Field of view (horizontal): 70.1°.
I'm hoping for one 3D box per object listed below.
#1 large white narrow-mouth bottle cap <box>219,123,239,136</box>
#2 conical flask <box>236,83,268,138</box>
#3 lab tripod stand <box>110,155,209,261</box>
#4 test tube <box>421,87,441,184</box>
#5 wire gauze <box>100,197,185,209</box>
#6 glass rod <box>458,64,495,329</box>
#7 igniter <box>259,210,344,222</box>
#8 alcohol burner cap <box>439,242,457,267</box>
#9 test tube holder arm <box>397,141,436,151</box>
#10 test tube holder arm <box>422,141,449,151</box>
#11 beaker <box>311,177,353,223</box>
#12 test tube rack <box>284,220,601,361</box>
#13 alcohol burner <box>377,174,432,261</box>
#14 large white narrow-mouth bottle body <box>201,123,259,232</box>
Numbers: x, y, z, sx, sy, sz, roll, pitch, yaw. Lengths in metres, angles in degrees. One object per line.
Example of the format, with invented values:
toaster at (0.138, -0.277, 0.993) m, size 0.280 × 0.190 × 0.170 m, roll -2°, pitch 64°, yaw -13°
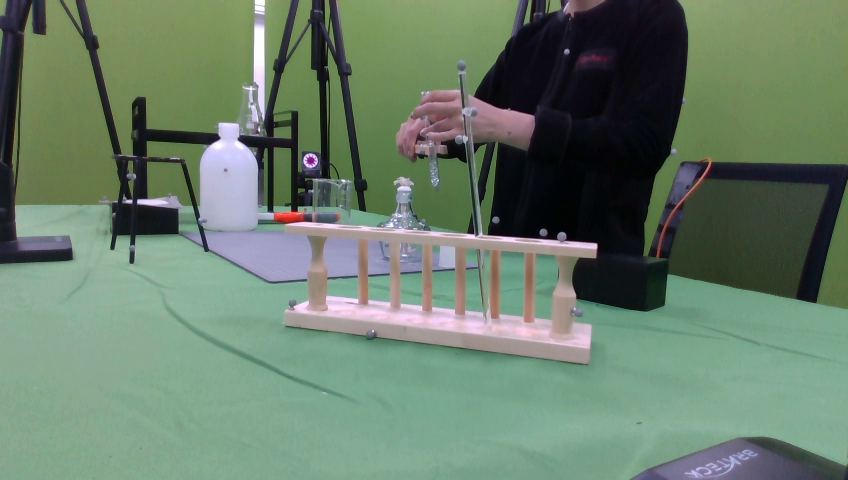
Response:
large white narrow-mouth bottle cap at (-0.356, -0.201, 1.104) m, size 0.038 × 0.024 × 0.037 m, roll 2°, pitch 8°, yaw 0°
conical flask at (-0.400, -0.298, 1.396) m, size 0.075 × 0.122 × 0.075 m, roll 2°, pitch 8°, yaw 0°
lab tripod stand at (-0.361, -0.046, 0.806) m, size 0.148 × 0.131 × 0.148 m, roll 2°, pitch 5°, yaw 0°
test tube at (0.011, -0.162, 0.946) m, size 0.017 × 0.150 × 0.017 m, roll -6°, pitch 17°, yaw 2°
wire gauze at (-0.469, -0.062, 1.008) m, size 0.126 × 0.011 × 0.121 m, roll -2°, pitch 8°, yaw -25°
glass rod at (0.040, -0.029, 0.449) m, size 0.008 × 0.199 × 0.008 m, roll -7°, pitch 9°, yaw 1°
igniter at (-0.303, -0.049, 1.258) m, size 0.278 × 0.025 × 0.057 m, roll -2°, pitch -2°, yaw -28°
alcohol burner cap at (0.037, 0.011, 0.807) m, size 0.034 × 0.048 × 0.034 m, roll 4°, pitch 8°, yaw 0°
test tube holder arm at (-0.016, -0.158, 1.012) m, size 0.013 × 0.015 × 0.177 m, roll -4°, pitch 11°, yaw -21°
test tube holder arm at (0.009, -0.152, 0.975) m, size 0.010 × 0.015 × 0.087 m, roll -9°, pitch 13°, yaw -36°
beaker at (-0.167, -0.064, 1.106) m, size 0.074 × 0.100 × 0.083 m, roll -2°, pitch 9°, yaw -27°
test tube rack at (0.013, 0.032, 0.482) m, size 0.242 × 0.085 × 0.067 m, roll 4°, pitch 7°, yaw 16°
alcohol burner at (-0.027, -0.031, 0.838) m, size 0.078 × 0.119 × 0.078 m, roll 0°, pitch 6°, yaw 0°
large white narrow-mouth bottle body at (-0.358, -0.116, 1.116) m, size 0.102 × 0.194 × 0.102 m, roll 2°, pitch 8°, yaw 0°
